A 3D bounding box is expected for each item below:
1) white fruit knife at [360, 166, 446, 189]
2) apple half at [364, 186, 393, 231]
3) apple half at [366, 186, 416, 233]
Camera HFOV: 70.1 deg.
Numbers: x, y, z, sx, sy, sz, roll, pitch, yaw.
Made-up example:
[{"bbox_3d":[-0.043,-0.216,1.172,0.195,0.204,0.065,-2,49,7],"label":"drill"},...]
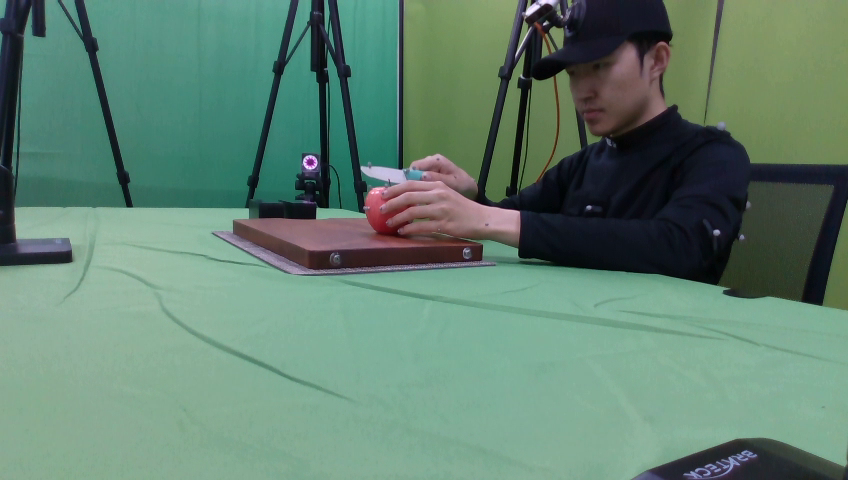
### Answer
[{"bbox_3d":[-0.029,-0.105,0.990,0.016,0.027,0.208,-1,-2,39],"label":"white fruit knife"},{"bbox_3d":[-0.071,-0.051,0.968,0.082,0.081,0.032,-4,13,-43],"label":"apple half"},{"bbox_3d":[-0.044,-0.046,0.940,0.081,0.074,0.053,-1,10,-42],"label":"apple half"}]
